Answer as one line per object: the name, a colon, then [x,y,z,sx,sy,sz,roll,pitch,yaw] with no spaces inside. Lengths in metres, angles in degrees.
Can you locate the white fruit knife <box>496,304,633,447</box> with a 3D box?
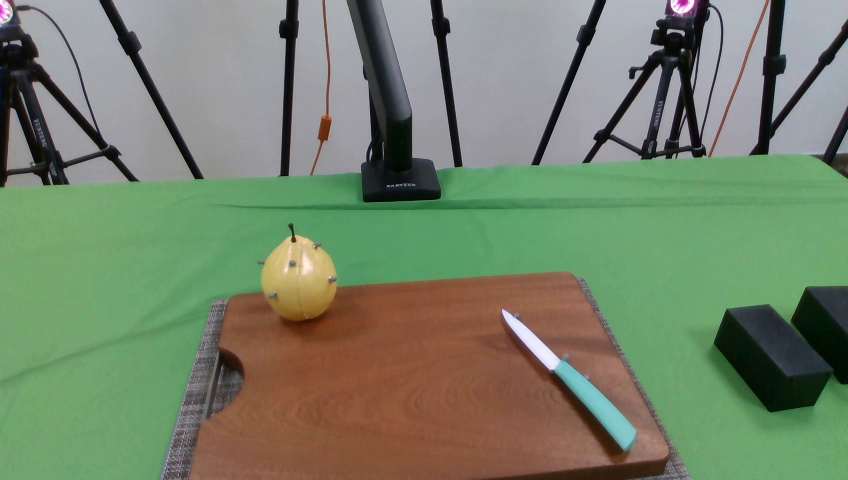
white fruit knife: [0.128,0.119,0.584,0.027,0.016,0.205,-3,31,-30]

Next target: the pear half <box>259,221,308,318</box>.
pear half: [-0.146,0.026,0.632,0.056,0.110,0.075,2,30,2]

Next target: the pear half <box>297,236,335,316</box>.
pear half: [-0.110,0.037,0.635,0.031,0.088,0.070,1,27,1]
